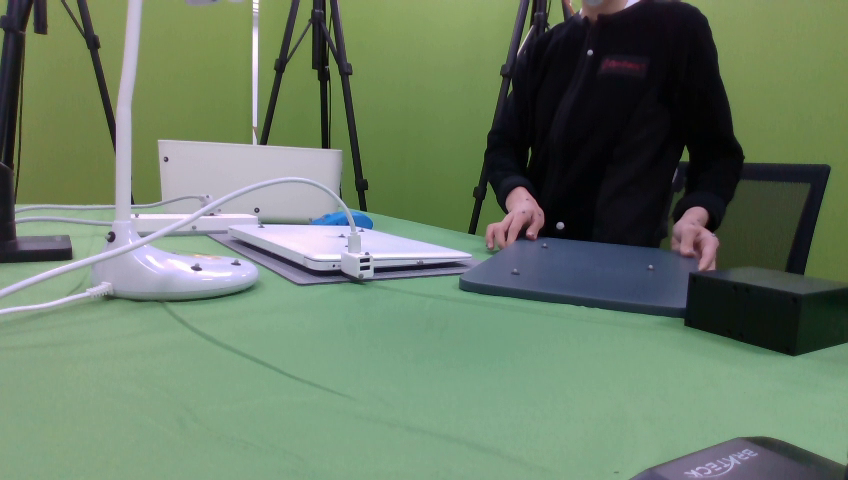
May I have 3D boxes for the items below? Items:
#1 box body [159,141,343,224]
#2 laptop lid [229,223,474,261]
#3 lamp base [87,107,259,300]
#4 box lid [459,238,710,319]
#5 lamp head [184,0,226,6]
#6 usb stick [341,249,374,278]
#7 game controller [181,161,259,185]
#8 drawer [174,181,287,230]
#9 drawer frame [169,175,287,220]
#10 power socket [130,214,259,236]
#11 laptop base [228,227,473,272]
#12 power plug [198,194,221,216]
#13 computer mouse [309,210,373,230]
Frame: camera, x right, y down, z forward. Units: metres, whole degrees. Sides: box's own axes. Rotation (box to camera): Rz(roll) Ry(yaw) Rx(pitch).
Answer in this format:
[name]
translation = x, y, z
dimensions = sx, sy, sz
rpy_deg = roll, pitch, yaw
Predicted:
[box body]
translation = -0.365, -0.128, 1.337
dimensions = 0.365, 0.160, 0.253
rpy_deg = 2, 7, -8
[laptop lid]
translation = -0.121, -0.001, 0.888
dimensions = 0.243, 0.013, 0.355
rpy_deg = 1, 7, -33
[lamp base]
translation = -0.254, -0.039, 0.603
dimensions = 0.160, 0.180, 0.179
rpy_deg = 5, 10, 18
[box lid]
translation = 0.218, 0.038, 0.784
dimensions = 0.262, 0.015, 0.372
rpy_deg = 5, 10, 21
[lamp head]
translation = -0.229, -0.320, 0.627
dimensions = 0.112, 0.112, 0.123
rpy_deg = 6, -36, 26
[usb stick]
translation = -0.078, 0.026, 0.686
dimensions = 0.021, 0.027, 0.059
rpy_deg = -8, 8, -30
[game controller]
translation = -0.444, -0.144, 1.306
dimensions = 0.156, 0.051, 0.096
rpy_deg = -3, 5, -34
[drawer]
translation = -0.412, -0.077, 1.323
dimensions = 0.212, 0.073, 0.194
rpy_deg = -9, 10, -8
[drawer frame]
translation = -0.415, -0.096, 1.318
dimensions = 0.214, 0.082, 0.201
rpy_deg = -5, 6, -9
[power socket]
translation = -0.397, -0.028, 1.048
dimensions = 0.228, 0.032, 0.072
rpy_deg = -3, 7, -35
[laptop base]
translation = -0.124, 0.011, 0.889
dimensions = 0.237, 0.023, 0.352
rpy_deg = 2, 6, -35
[power plug]
translation = -0.386, -0.055, 1.088
dimensions = 0.035, 0.052, 0.072
rpy_deg = -2, 7, -24
[computer mouse]
translation = -0.157, -0.034, 1.139
dimensions = 0.118, 0.041, 0.062
rpy_deg = -6, 12, -28
